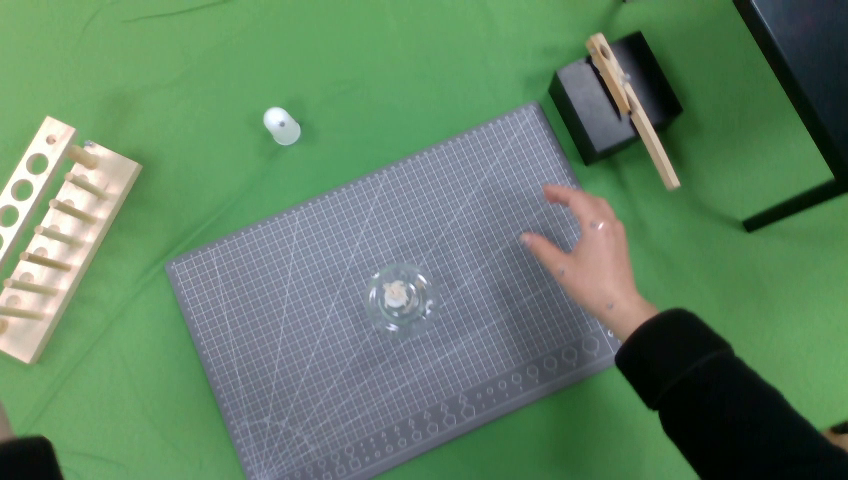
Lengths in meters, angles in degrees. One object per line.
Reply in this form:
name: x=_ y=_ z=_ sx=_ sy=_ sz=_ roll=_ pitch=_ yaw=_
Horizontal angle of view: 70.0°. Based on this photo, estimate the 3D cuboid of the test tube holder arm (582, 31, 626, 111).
test tube holder arm: x=0.187 y=-0.174 z=0.623 sx=0.010 sy=0.015 sz=0.087 roll=-23 pitch=82 yaw=-18

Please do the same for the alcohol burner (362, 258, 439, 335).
alcohol burner: x=-0.025 y=0.054 z=0.595 sx=0.078 sy=0.119 sz=0.077 roll=-1 pitch=79 yaw=4

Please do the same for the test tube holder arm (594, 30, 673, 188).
test tube holder arm: x=0.211 y=-0.135 z=0.619 sx=0.013 sy=0.015 sz=0.178 roll=-22 pitch=82 yaw=-18

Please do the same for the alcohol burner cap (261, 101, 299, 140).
alcohol burner cap: x=-0.160 y=-0.134 z=0.664 sx=0.034 sy=0.048 sz=0.033 roll=-1 pitch=77 yaw=5

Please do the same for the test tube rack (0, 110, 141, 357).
test tube rack: x=-0.400 y=-0.002 z=0.628 sx=0.066 sy=0.085 sz=0.242 roll=25 pitch=83 yaw=6
